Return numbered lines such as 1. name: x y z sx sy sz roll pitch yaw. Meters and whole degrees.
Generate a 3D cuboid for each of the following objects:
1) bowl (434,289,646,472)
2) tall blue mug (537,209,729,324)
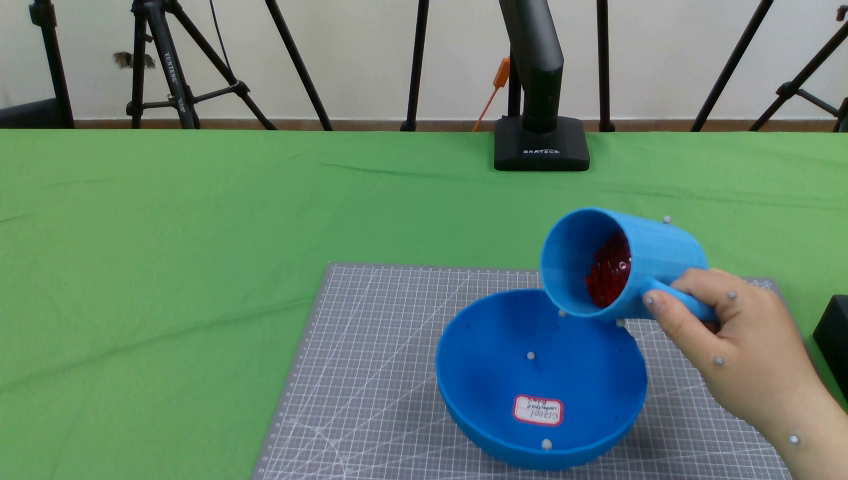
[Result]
1. bowl: 0.083 0.117 0.458 0.151 0.077 0.150 -1 39 1
2. tall blue mug: 0.158 0.021 0.437 0.109 0.077 0.106 8 -11 -41
